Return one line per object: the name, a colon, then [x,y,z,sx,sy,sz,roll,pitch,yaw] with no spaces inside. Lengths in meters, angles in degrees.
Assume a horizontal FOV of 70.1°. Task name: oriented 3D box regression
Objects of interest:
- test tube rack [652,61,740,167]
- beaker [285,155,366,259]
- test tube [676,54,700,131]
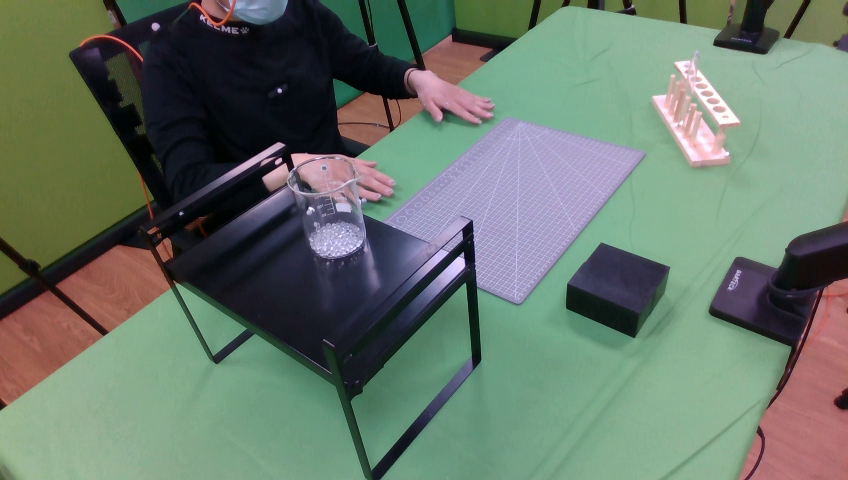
test tube rack: [0.499,-0.242,1.130,0.067,0.085,0.241,-5,41,3]
beaker: [-0.105,-0.035,0.690,0.084,0.101,0.073,-4,41,3]
test tube: [0.475,-0.263,1.088,0.017,0.151,0.017,-4,42,4]
